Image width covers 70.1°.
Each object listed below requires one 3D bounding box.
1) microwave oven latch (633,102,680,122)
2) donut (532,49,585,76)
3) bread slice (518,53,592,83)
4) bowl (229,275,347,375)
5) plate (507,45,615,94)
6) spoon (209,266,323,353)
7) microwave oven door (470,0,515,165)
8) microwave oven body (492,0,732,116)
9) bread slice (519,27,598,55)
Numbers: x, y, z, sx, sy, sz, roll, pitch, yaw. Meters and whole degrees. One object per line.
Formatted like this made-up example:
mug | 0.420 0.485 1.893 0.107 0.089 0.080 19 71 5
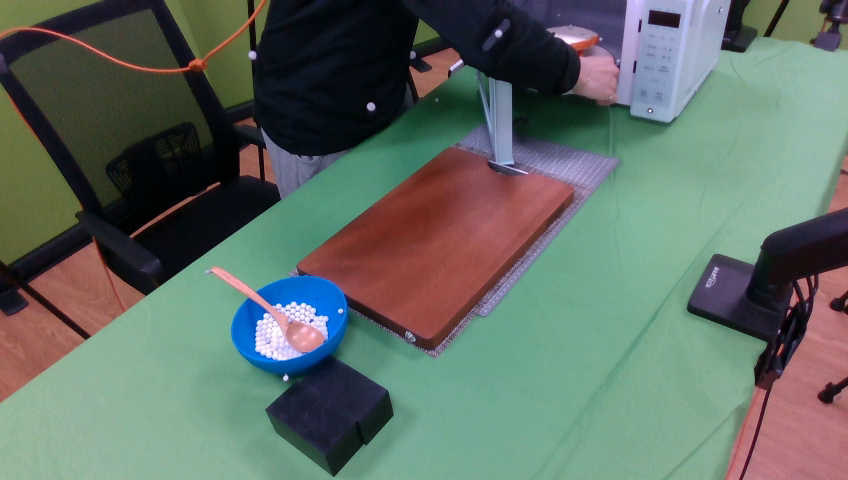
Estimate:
microwave oven latch | 0.444 -0.249 1.157 0.078 0.029 0.030 22 49 30
donut | 0.260 -0.352 1.170 0.099 0.048 0.098 -3 44 3
bread slice | 0.267 -0.353 1.211 0.132 0.019 0.104 -15 44 -13
bowl | -0.171 0.125 0.801 0.151 0.077 0.150 -4 40 4
plate | 0.269 -0.338 1.195 0.207 0.039 0.206 -3 40 3
spoon | -0.213 0.088 0.806 0.193 0.021 0.042 37 55 11
microwave oven door | 0.127 -0.341 1.153 0.039 0.245 0.354 -7 40 2
microwave oven body | 0.377 -0.462 1.267 0.438 0.261 0.327 21 49 30
bread slice | 0.263 -0.384 1.157 0.135 0.018 0.106 -25 42 -32
